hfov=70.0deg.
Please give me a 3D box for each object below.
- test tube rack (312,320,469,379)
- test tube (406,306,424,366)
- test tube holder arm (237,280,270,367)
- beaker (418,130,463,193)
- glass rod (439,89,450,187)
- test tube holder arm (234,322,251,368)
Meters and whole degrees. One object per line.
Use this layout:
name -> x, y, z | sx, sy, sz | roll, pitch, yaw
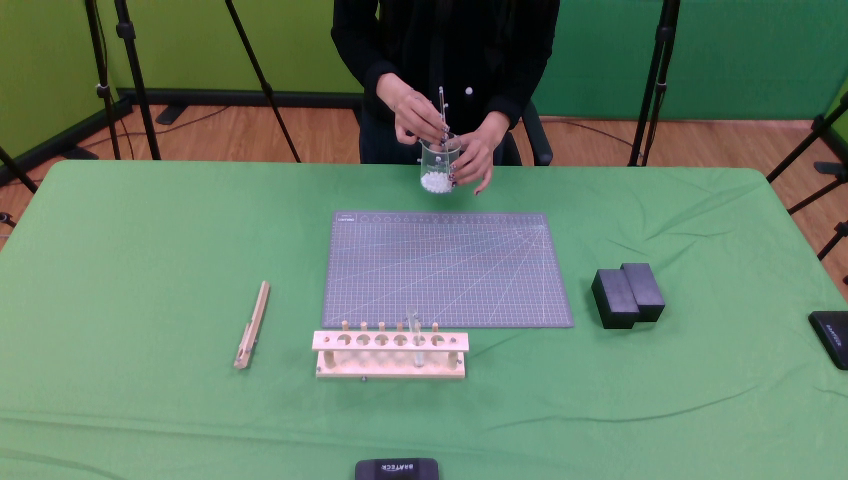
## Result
test tube rack -> -0.054, 0.173, 0.984 | 0.242, 0.085, 0.066 | 1, 46, -3
test tube -> -0.013, 0.152, 0.939 | 0.017, 0.151, 0.017 | -3, 48, 3
test tube holder arm -> -0.291, 0.140, 1.042 | 0.013, 0.015, 0.177 | -17, 41, 22
beaker -> 0.027, -0.146, 1.140 | 0.084, 0.101, 0.073 | 14, 43, 11
glass rod -> 0.039, -0.179, 1.090 | 0.008, 0.201, 0.008 | -4, 40, 4
test tube holder arm -> -0.299, 0.173, 1.013 | 0.010, 0.015, 0.087 | -17, 41, 22
